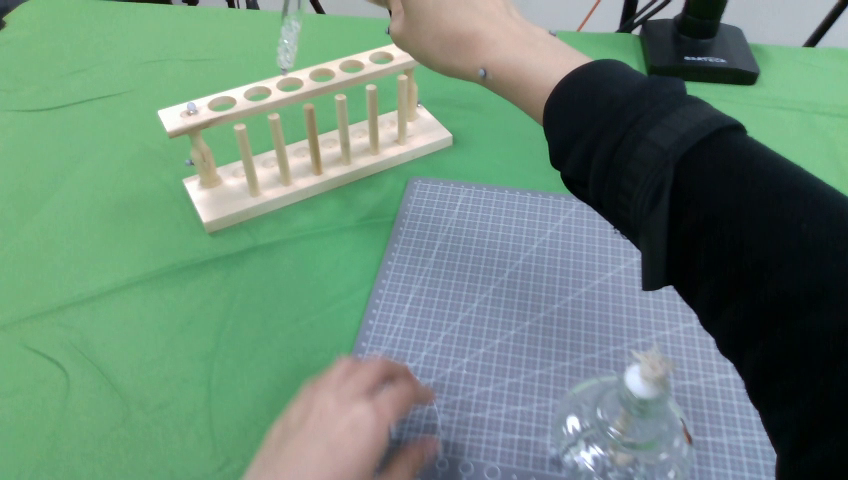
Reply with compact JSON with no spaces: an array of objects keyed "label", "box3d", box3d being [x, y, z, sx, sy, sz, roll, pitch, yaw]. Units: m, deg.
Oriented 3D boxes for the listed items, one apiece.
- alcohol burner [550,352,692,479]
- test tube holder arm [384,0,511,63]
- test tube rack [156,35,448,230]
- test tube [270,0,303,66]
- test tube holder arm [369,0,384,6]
[{"label":"alcohol burner","box3d":[0.110,0.096,0.332,0.078,0.120,0.077,-1,47,1]},{"label":"test tube holder arm","box3d":[-0.022,-0.163,0.403,0.178,0.015,0.013,28,50,8]},{"label":"test tube rack","box3d":[-0.097,-0.101,0.543,0.243,0.086,0.066,-23,51,-20]},{"label":"test tube","box3d":[-0.089,-0.183,0.421,0.017,0.151,0.017,12,50,-15]},{"label":"test tube holder arm","box3d":[-0.065,-0.179,0.405,0.088,0.015,0.010,23,48,4]}]
